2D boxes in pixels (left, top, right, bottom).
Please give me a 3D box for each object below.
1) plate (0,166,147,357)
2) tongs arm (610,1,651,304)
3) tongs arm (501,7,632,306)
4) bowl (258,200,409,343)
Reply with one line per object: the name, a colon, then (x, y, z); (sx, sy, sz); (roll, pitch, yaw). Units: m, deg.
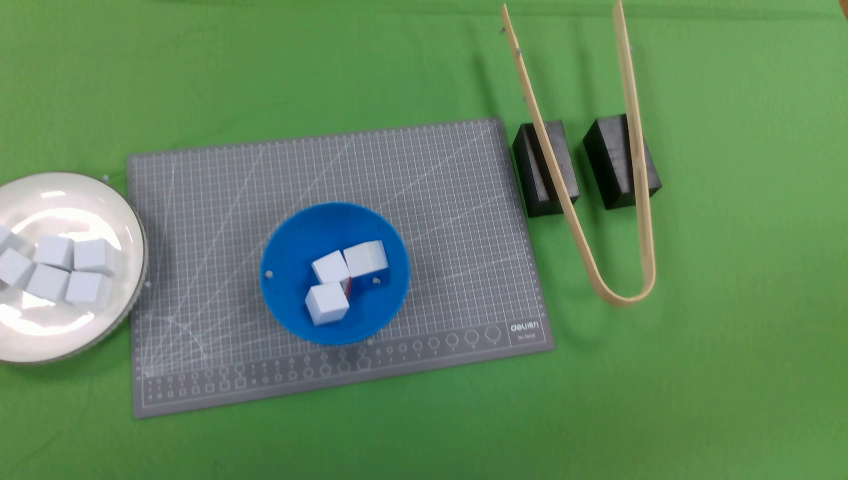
plate: (-0.398, 0.022, 0.642); (0.208, 0.039, 0.206); (1, 71, -4)
tongs arm: (0.235, -0.115, 0.705); (0.028, 0.028, 0.385); (5, 71, -8)
tongs arm: (0.156, -0.108, 0.696); (0.051, 0.026, 0.382); (-8, 72, -10)
bowl: (-0.093, 0.041, 0.642); (0.151, 0.077, 0.150); (2, 71, -5)
